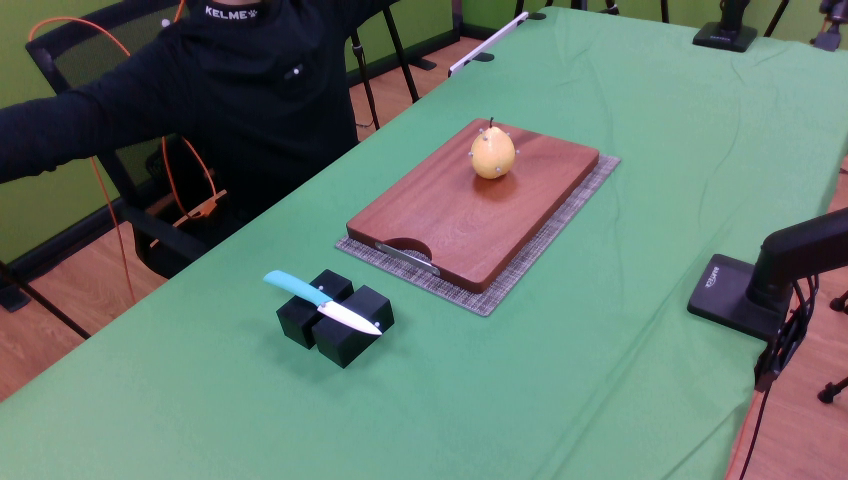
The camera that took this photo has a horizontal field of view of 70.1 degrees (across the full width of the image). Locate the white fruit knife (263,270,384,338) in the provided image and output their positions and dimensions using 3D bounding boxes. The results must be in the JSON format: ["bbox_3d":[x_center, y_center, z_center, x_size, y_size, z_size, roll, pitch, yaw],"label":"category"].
[{"bbox_3d":[-0.137,0.086,0.821,0.206,0.016,0.027,24,61,26],"label":"white fruit knife"}]

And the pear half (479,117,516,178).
[{"bbox_3d":[0.126,-0.166,1.031,0.056,0.110,0.075,-34,51,-29],"label":"pear half"}]

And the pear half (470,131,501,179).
[{"bbox_3d":[0.099,-0.141,1.022,0.031,0.088,0.070,-34,54,-30],"label":"pear half"}]
